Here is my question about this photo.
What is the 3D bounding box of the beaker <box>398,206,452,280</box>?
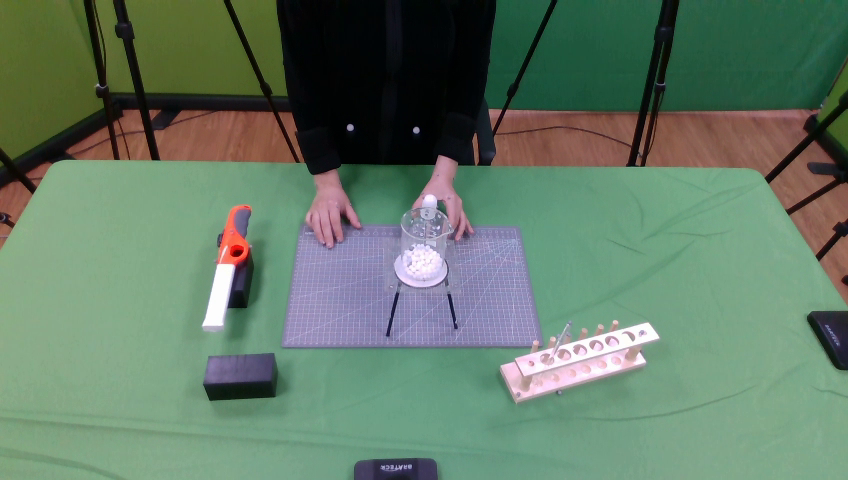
[{"bbox_3d":[0.000,0.008,0.950,0.084,0.101,0.073,10,46,6],"label":"beaker"}]

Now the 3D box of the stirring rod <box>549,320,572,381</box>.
[{"bbox_3d":[0.202,0.168,0.901,0.006,0.177,0.014,-17,54,-11],"label":"stirring rod"}]

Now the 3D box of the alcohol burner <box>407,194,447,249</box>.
[{"bbox_3d":[0.006,-0.040,1.170,0.078,0.120,0.077,1,46,-1],"label":"alcohol burner"}]

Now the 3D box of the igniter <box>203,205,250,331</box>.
[{"bbox_3d":[-0.345,0.039,1.065,0.057,0.025,0.274,2,48,-6],"label":"igniter"}]

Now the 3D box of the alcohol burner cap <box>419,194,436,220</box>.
[{"bbox_3d":[0.008,-0.065,1.144,0.034,0.048,0.033,4,44,-3],"label":"alcohol burner cap"}]

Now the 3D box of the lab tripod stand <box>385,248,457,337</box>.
[{"bbox_3d":[-0.010,0.087,1.032,0.148,0.132,0.147,1,45,-1],"label":"lab tripod stand"}]

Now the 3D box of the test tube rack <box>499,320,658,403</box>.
[{"bbox_3d":[0.252,0.187,0.994,0.243,0.085,0.066,-12,48,-15],"label":"test tube rack"}]

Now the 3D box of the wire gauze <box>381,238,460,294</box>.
[{"bbox_3d":[-0.008,0.042,0.985,0.125,0.011,0.120,-1,43,-2],"label":"wire gauze"}]
